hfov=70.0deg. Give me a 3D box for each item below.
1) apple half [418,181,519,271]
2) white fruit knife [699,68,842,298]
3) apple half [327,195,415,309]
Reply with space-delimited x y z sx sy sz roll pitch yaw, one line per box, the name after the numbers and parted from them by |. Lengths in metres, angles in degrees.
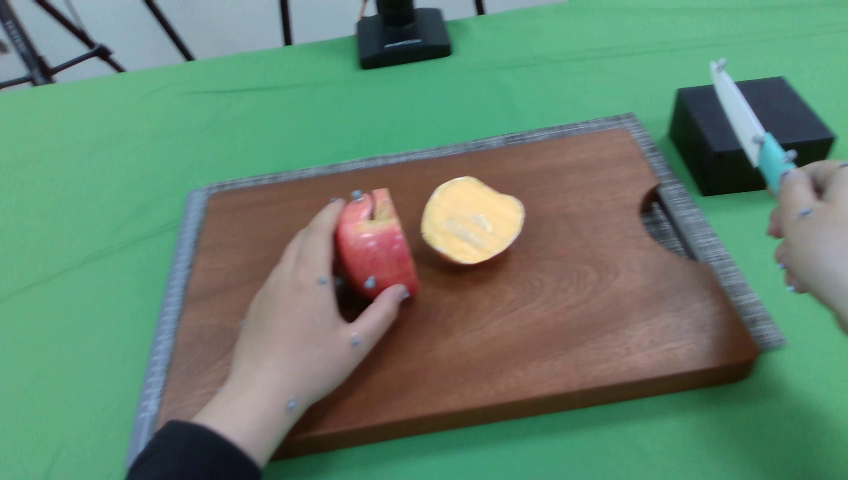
0.033 -0.004 0.481 0.081 0.033 0.080 -1 60 3 | apple half
0.229 -0.054 0.417 0.016 0.027 0.205 -2 52 -7 | white fruit knife
-0.042 0.014 0.445 0.053 0.075 0.080 -20 48 -5 | apple half
